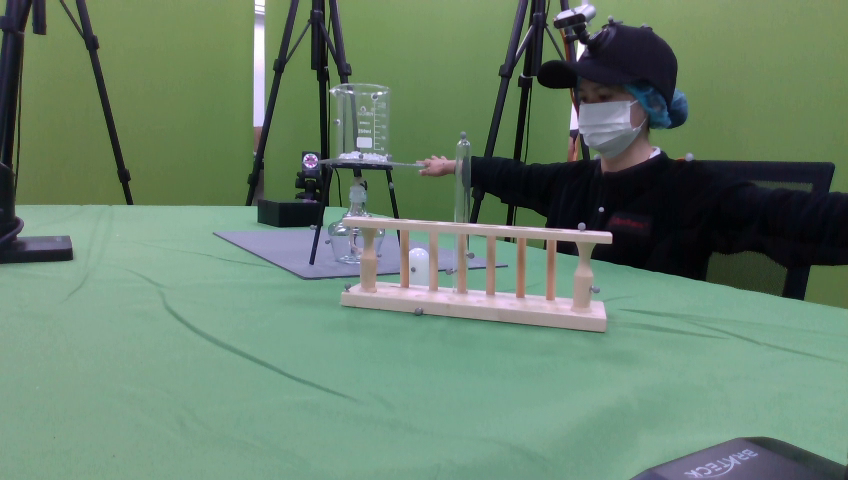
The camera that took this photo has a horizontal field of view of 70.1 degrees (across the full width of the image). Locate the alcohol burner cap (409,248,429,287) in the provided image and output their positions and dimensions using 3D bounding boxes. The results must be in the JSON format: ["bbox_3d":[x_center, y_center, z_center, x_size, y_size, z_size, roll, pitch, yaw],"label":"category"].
[{"bbox_3d":[-0.008,0.032,0.674,0.034,0.048,0.034,3,6,0],"label":"alcohol burner cap"}]

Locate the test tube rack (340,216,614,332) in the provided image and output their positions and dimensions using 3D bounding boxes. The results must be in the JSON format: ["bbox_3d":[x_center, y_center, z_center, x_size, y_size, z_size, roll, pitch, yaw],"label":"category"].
[{"bbox_3d":[0.048,0.026,0.568,0.242,0.085,0.067,4,7,13],"label":"test tube rack"}]

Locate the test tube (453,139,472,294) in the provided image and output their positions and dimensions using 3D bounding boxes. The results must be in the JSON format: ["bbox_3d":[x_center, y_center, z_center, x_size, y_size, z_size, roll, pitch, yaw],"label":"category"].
[{"bbox_3d":[0.037,-0.021,0.584,0.017,0.150,0.017,1,7,0],"label":"test tube"}]

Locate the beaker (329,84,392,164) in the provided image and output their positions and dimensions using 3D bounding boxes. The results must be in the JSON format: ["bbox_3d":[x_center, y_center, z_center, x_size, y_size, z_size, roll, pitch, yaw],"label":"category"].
[{"bbox_3d":[-0.084,-0.149,0.794,0.084,0.100,0.073,-1,6,-23],"label":"beaker"}]

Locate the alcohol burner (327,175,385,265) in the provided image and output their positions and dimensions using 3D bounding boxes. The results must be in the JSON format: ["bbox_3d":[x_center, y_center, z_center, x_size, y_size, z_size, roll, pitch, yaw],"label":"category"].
[{"bbox_3d":[-0.090,-0.027,0.811,0.078,0.119,0.078,3,5,0],"label":"alcohol burner"}]

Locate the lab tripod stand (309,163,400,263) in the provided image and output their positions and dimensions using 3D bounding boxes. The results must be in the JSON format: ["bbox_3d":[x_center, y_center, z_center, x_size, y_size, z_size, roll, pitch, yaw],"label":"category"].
[{"bbox_3d":[-0.091,-0.037,0.813,0.148,0.131,0.148,1,6,0],"label":"lab tripod stand"}]

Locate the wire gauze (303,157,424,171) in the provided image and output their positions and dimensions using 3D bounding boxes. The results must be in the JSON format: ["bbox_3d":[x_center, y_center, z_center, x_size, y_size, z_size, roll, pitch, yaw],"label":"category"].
[{"bbox_3d":[-0.082,-0.102,0.799,0.126,0.011,0.121,1,7,-30],"label":"wire gauze"}]
